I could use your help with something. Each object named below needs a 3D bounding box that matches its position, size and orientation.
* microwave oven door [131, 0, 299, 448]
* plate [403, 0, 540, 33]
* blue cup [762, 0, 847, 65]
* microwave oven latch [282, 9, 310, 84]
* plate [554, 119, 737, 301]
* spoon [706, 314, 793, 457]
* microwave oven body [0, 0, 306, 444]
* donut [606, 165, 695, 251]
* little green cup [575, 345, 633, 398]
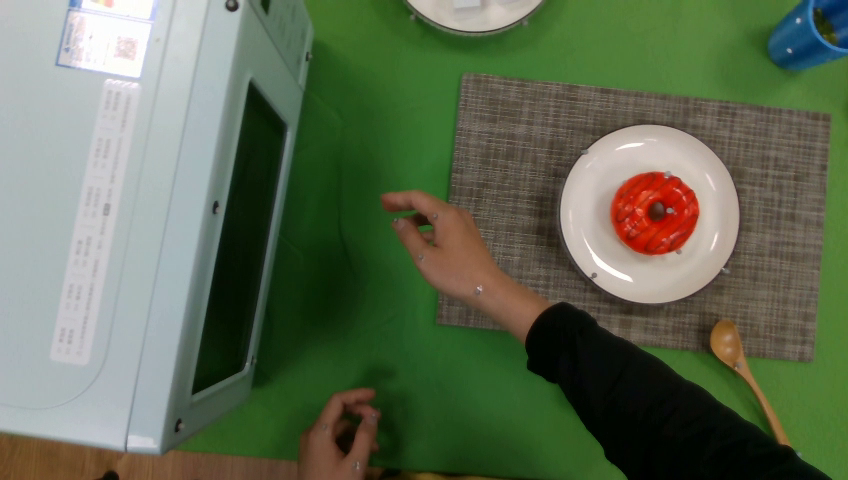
[{"bbox_3d":[-0.185,-0.011,0.576,0.039,0.244,0.355,9,87,0],"label":"microwave oven door"},{"bbox_3d":[0.055,-0.343,0.716,0.208,0.039,0.207,0,87,-1],"label":"plate"},{"bbox_3d":[0.441,-0.244,0.689,0.093,0.100,0.092,0,89,-2],"label":"blue cup"},{"bbox_3d":[-0.149,-0.221,0.687,0.030,0.029,0.079,10,88,-1],"label":"microwave oven latch"},{"bbox_3d":[0.252,-0.034,0.703,0.209,0.038,0.209,0,88,-1],"label":"plate"},{"bbox_3d":[0.381,0.172,0.706,0.041,0.021,0.193,-31,90,-19],"label":"spoon"},{"bbox_3d":[-0.322,-0.076,0.581,0.326,0.260,0.441,9,88,-1],"label":"microwave oven body"},{"bbox_3d":[0.257,-0.037,0.692,0.099,0.048,0.099,0,88,1],"label":"donut"},{"bbox_3d":[0.205,0.149,0.697,0.061,0.038,0.061,0,85,-1],"label":"little green cup"}]
